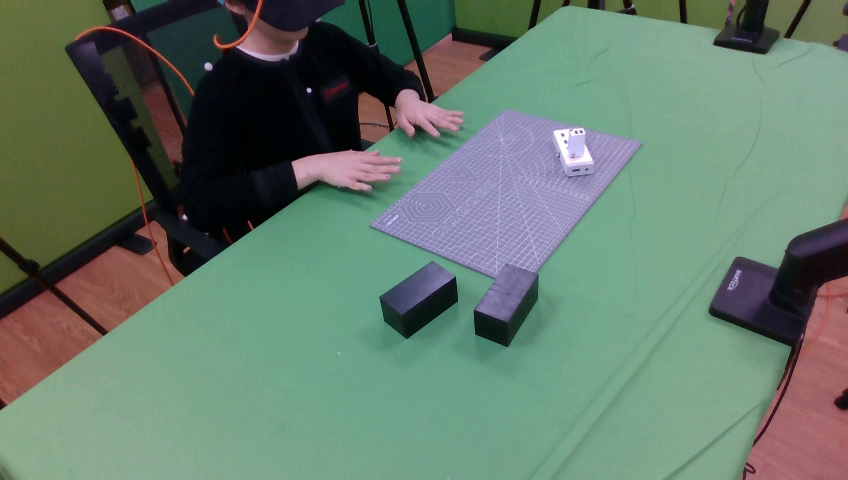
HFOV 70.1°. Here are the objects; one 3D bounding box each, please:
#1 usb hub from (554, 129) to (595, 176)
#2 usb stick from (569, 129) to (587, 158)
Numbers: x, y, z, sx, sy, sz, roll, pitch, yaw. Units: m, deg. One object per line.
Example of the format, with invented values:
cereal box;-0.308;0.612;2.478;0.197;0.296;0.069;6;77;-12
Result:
usb hub;0.278;-0.163;1.119;0.049;0.025;0.124;-6;41;1
usb stick;0.273;-0.166;1.075;0.027;0.059;0.021;-5;40;-2
